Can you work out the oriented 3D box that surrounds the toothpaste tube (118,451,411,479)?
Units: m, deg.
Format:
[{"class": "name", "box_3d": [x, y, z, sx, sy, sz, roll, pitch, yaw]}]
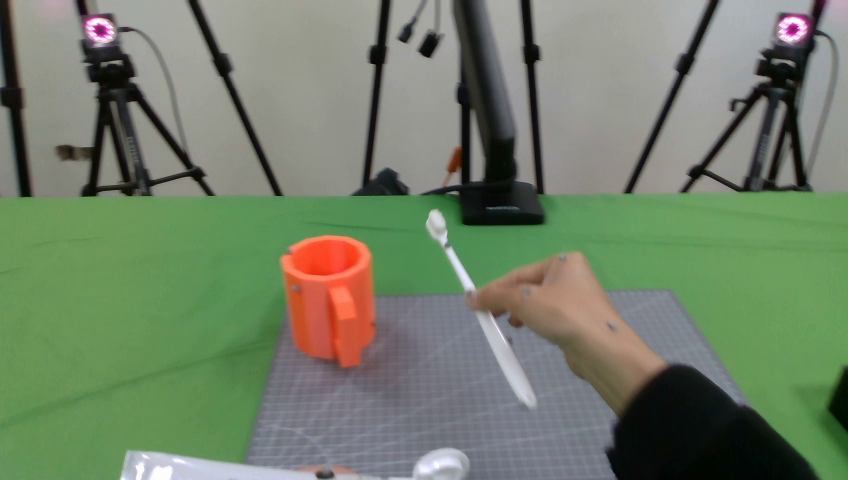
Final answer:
[{"class": "toothpaste tube", "box_3d": [-0.081, 0.142, 0.325, 0.165, 0.035, 0.054, 3, 52, -7]}]

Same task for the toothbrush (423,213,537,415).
[{"class": "toothbrush", "box_3d": [0.038, 0.047, 0.446, 0.014, 0.017, 0.180, -12, 52, -21]}]

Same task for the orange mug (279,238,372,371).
[{"class": "orange mug", "box_3d": [-0.092, 0.068, 0.604, 0.084, 0.101, 0.125, -11, 28, -18]}]

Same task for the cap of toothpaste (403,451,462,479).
[{"class": "cap of toothpaste", "box_3d": [0.006, 0.138, 0.352, 0.037, 0.037, 0.011, -8, 32, -14]}]
